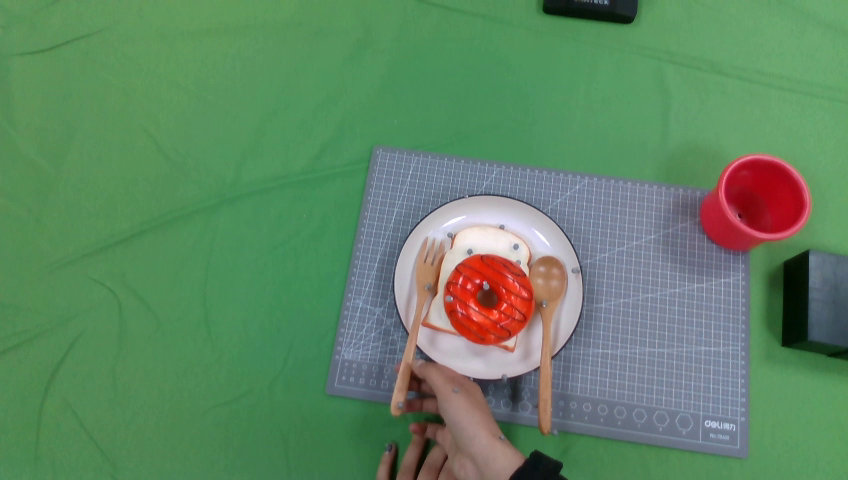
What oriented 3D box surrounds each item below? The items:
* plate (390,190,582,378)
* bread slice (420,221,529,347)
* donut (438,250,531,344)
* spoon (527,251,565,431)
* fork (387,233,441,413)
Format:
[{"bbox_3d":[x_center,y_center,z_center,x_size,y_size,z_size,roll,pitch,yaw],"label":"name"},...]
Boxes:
[{"bbox_3d":[0.067,0.048,0.668,0.209,0.038,0.208,0,74,0],"label":"plate"},{"bbox_3d":[0.061,0.043,0.672,0.105,0.019,0.131,14,76,3],"label":"bread slice"},{"bbox_3d":[0.063,0.059,0.636,0.099,0.048,0.098,0,78,-2],"label":"donut"},{"bbox_3d":[0.126,0.101,0.637,0.041,0.022,0.192,5,61,7],"label":"spoon"},{"bbox_3d":[-0.011,0.081,0.640,0.028,0.019,0.205,17,58,-7],"label":"fork"}]
